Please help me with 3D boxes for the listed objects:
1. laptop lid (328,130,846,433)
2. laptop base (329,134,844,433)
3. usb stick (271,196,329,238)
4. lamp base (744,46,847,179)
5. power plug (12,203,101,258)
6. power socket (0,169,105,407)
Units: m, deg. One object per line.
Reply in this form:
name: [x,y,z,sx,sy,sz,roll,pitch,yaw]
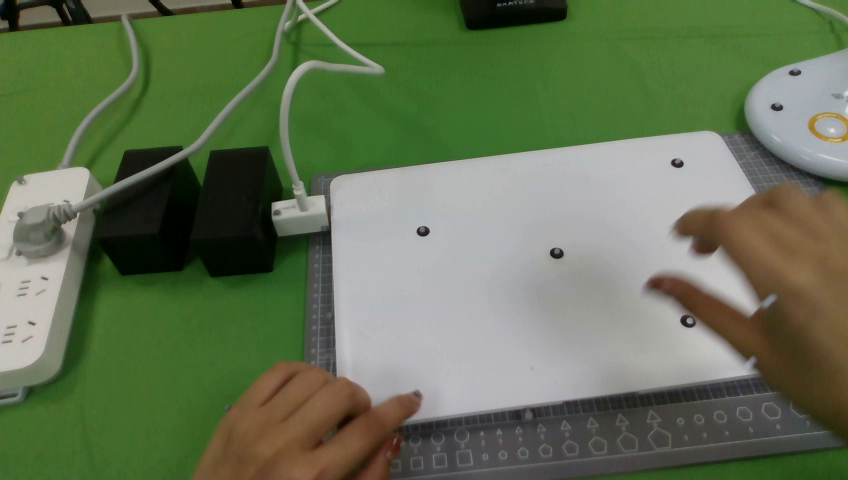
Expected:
laptop lid: [0.103,0.014,0.471,0.357,0.013,0.239,-6,53,-1]
laptop base: [0.104,0.019,0.482,0.354,0.023,0.233,-7,54,-2]
usb stick: [-0.097,-0.020,0.509,0.059,0.027,0.021,-7,50,-8]
lamp base: [0.386,-0.171,0.513,0.159,0.182,0.178,25,53,23]
power plug: [-0.290,-0.001,0.484,0.072,0.053,0.035,0,51,3]
power socket: [-0.316,0.025,0.494,0.072,0.033,0.224,-8,50,-4]
